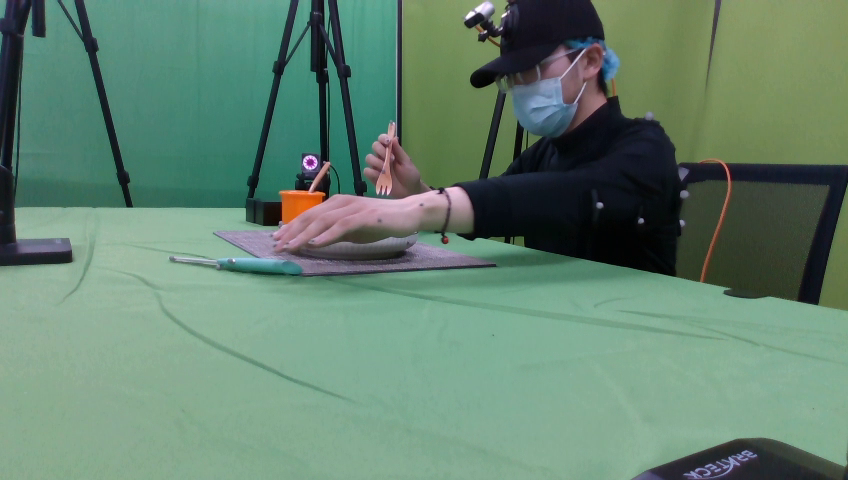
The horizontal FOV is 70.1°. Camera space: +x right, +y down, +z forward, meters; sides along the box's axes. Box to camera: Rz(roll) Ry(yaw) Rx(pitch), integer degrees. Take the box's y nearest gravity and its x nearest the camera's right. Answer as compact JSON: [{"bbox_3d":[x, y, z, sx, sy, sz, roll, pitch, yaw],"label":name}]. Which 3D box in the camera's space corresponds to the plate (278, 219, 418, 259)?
[{"bbox_3d":[-0.114,-0.002,0.914,0.209,0.038,0.209,2,8,0],"label":"plate"}]

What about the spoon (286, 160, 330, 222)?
[{"bbox_3d":[-0.233,-0.101,1.252,0.041,0.193,0.022,3,-37,23],"label":"spoon"}]

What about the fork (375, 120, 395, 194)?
[{"bbox_3d":[-0.067,-0.154,1.104,0.028,0.018,0.207,5,51,-1],"label":"fork"}]

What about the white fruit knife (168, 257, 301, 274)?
[{"bbox_3d":[-0.243,0.029,0.749,0.206,0.016,0.027,2,-17,26],"label":"white fruit knife"}]
